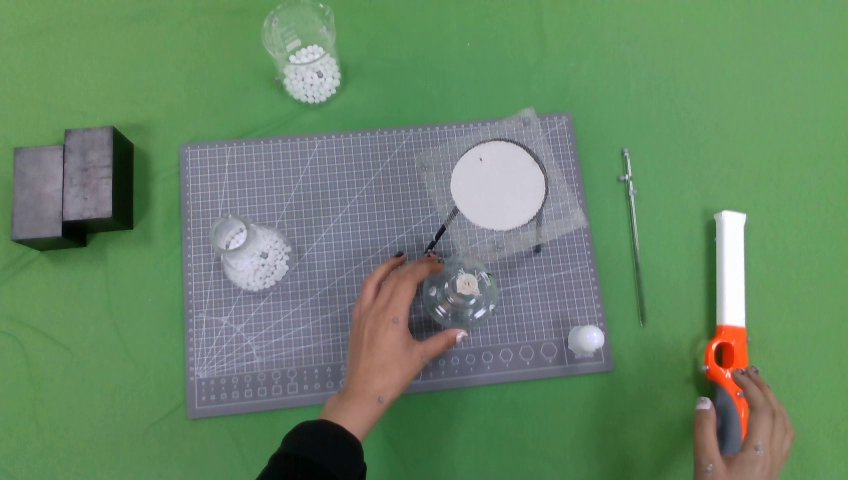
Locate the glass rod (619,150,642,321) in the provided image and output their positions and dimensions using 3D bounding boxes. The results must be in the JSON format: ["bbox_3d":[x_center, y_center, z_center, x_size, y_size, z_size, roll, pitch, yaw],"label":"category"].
[{"bbox_3d":[0.233,-0.008,0.686,0.008,0.008,0.198,-1,78,-3],"label":"glass rod"}]

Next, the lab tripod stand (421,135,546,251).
[{"bbox_3d":[0.062,-0.038,0.617,0.148,0.132,0.148,0,80,-2],"label":"lab tripod stand"}]

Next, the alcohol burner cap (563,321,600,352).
[{"bbox_3d":[0.169,0.100,0.640,0.034,0.048,0.033,1,78,-3],"label":"alcohol burner cap"}]

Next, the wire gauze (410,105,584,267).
[{"bbox_3d":[0.066,-0.050,0.551,0.125,0.011,0.121,-22,80,-7],"label":"wire gauze"}]

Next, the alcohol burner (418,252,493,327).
[{"bbox_3d":[0.034,0.047,0.608,0.078,0.119,0.077,1,77,-4],"label":"alcohol burner"}]

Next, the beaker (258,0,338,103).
[{"bbox_3d":[-0.131,-0.203,0.663,0.074,0.100,0.084,42,79,6],"label":"beaker"}]

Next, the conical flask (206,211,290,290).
[{"bbox_3d":[-0.180,0.006,0.601,0.075,0.122,0.075,1,78,-2],"label":"conical flask"}]

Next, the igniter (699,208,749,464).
[{"bbox_3d":[0.326,0.100,0.659,0.057,0.025,0.275,9,78,-12],"label":"igniter"}]
